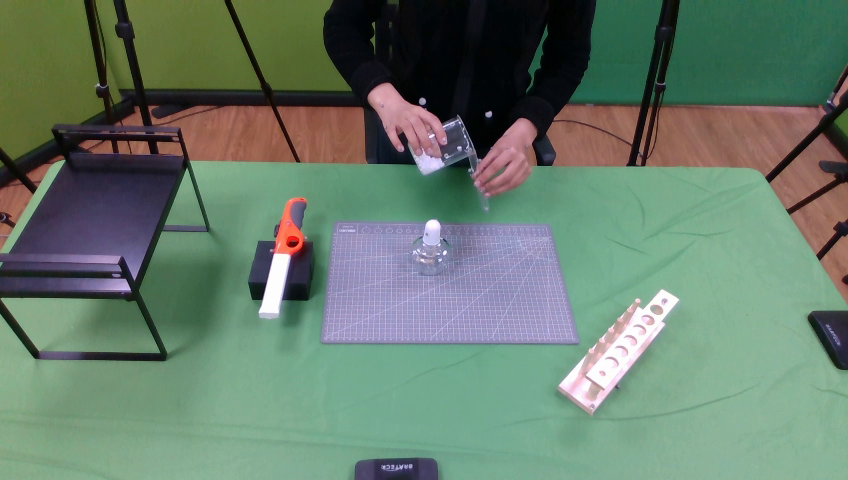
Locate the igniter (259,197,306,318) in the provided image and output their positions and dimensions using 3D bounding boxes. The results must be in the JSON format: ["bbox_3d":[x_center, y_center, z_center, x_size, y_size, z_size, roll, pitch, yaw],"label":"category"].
[{"bbox_3d":[-0.252,0.021,1.087,0.057,0.025,0.275,4,48,-2],"label":"igniter"}]

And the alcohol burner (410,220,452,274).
[{"bbox_3d":[0.013,0.008,1.120,0.078,0.120,0.077,1,48,-1],"label":"alcohol burner"}]

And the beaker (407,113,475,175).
[{"bbox_3d":[0.028,-0.160,1.032,0.100,0.084,0.073,-24,52,4],"label":"beaker"}]

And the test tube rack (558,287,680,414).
[{"bbox_3d":[0.327,0.170,1.009,0.066,0.085,0.242,36,54,26],"label":"test tube rack"}]

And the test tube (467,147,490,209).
[{"bbox_3d":[0.101,-0.110,1.114,0.017,0.151,0.017,-10,47,11],"label":"test tube"}]

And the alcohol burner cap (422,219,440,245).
[{"bbox_3d":[0.014,-0.018,1.094,0.034,0.048,0.033,5,44,-5],"label":"alcohol burner cap"}]
